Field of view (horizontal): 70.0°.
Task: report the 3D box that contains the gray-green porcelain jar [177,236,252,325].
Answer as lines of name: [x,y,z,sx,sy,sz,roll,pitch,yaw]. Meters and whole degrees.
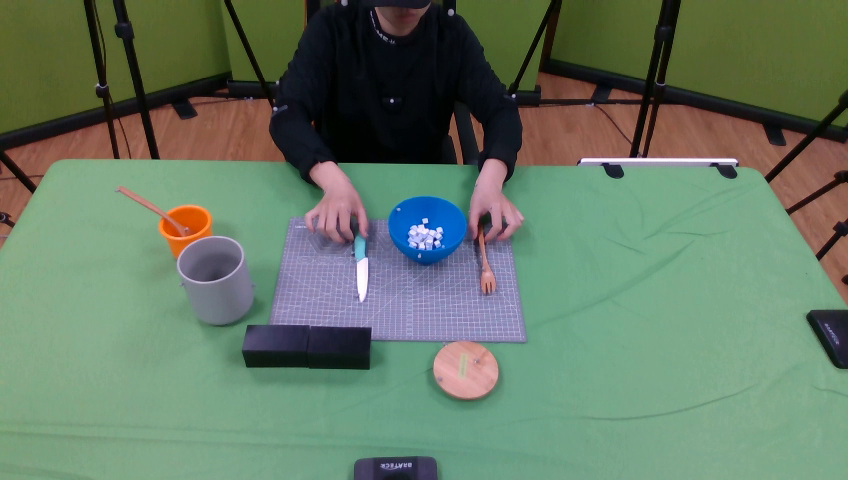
gray-green porcelain jar: [-0.350,0.073,1.027,0.106,0.127,0.105,3,46,-3]

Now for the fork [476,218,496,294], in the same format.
fork: [0.116,0.027,1.178,0.028,0.019,0.206,-21,44,17]

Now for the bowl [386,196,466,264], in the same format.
bowl: [0.002,-0.007,1.162,0.151,0.077,0.150,3,46,-2]

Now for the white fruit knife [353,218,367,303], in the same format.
white fruit knife: [-0.121,0.036,1.153,0.027,0.016,0.206,-11,47,5]

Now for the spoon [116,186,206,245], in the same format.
spoon: [-0.474,-0.041,1.112,0.021,0.195,0.041,-30,32,30]

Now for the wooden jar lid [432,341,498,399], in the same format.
wooden jar lid: [0.067,0.216,0.997,0.108,0.021,0.107,1,46,-1]
